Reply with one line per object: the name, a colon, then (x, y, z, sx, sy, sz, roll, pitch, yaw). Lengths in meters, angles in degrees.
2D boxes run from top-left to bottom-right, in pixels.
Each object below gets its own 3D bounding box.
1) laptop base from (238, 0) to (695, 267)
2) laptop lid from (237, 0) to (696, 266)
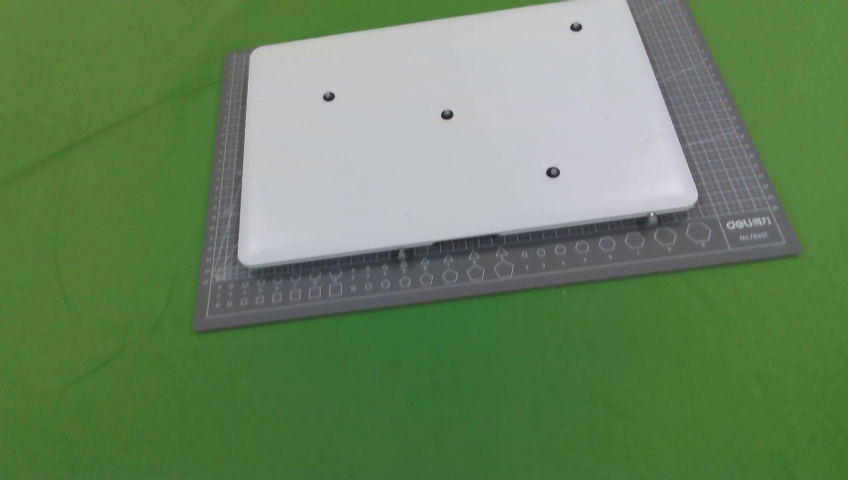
laptop base: (0.021, -0.099, 0.519, 0.354, 0.023, 0.233, -7, 63, 2)
laptop lid: (0.020, -0.103, 0.508, 0.357, 0.013, 0.239, -6, 62, 3)
